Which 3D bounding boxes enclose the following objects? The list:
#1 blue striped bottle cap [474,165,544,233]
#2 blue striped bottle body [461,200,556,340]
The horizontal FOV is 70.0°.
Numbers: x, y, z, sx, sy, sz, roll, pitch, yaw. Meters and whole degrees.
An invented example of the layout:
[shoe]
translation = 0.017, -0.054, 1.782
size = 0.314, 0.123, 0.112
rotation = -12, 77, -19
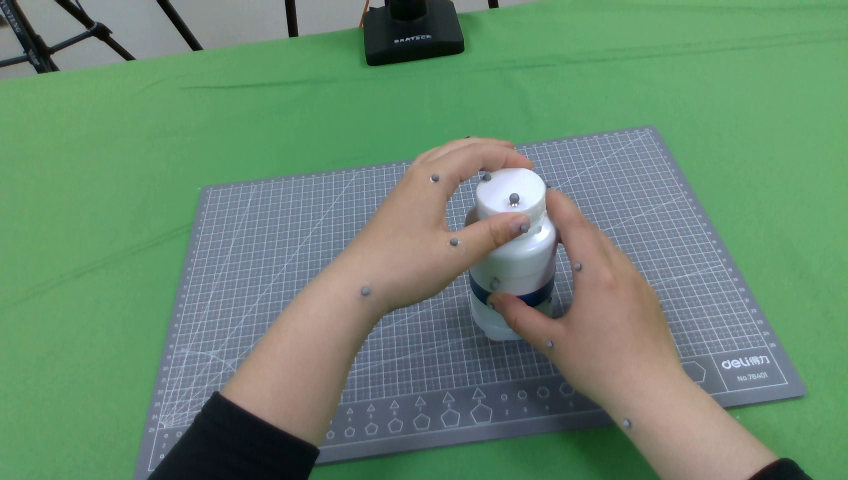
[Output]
[blue striped bottle cap]
translation = 0.053, -0.027, 0.381
size = 0.044, 0.021, 0.044
rotation = -5, 48, 6
[blue striped bottle body]
translation = 0.059, 0.011, 0.422
size = 0.063, 0.122, 0.062
rotation = -4, 47, 5
